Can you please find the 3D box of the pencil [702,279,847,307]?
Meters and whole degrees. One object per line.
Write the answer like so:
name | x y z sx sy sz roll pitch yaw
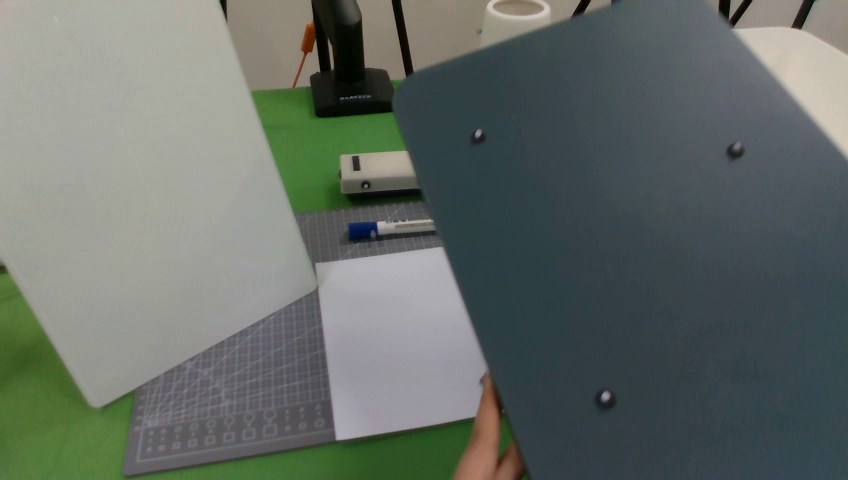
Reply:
pencil | 0.371 0.056 0.589 0.194 0.012 0.012 8 41 5

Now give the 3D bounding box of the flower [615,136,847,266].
flower | 0.372 -0.027 0.677 0.044 0.038 0.358 -26 49 -35

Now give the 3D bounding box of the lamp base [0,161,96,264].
lamp base | -0.455 -0.091 0.615 0.178 0.182 0.160 20 44 24

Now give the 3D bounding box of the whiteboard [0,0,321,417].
whiteboard | -0.254 -0.053 0.523 0.217 0.308 0.142 -29 29 -29

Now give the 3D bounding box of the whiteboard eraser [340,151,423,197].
whiteboard eraser | -0.043 -0.077 0.719 0.113 0.042 0.055 -6 40 -7

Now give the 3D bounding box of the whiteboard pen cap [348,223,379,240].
whiteboard pen cap | -0.065 -0.009 0.653 0.033 0.018 0.018 -3 41 -9

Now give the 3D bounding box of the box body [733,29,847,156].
box body | 0.360 -0.067 0.625 0.255 0.162 0.360 -8 41 -10

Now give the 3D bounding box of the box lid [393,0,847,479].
box lid | 0.144 -0.018 0.394 0.263 0.015 0.367 -20 58 -2

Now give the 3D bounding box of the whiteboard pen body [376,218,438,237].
whiteboard pen body | -0.007 -0.014 0.661 0.141 0.017 0.017 -5 41 -7

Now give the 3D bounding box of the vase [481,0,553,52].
vase | 0.104 -0.171 0.711 0.098 0.202 0.097 1 40 -1
